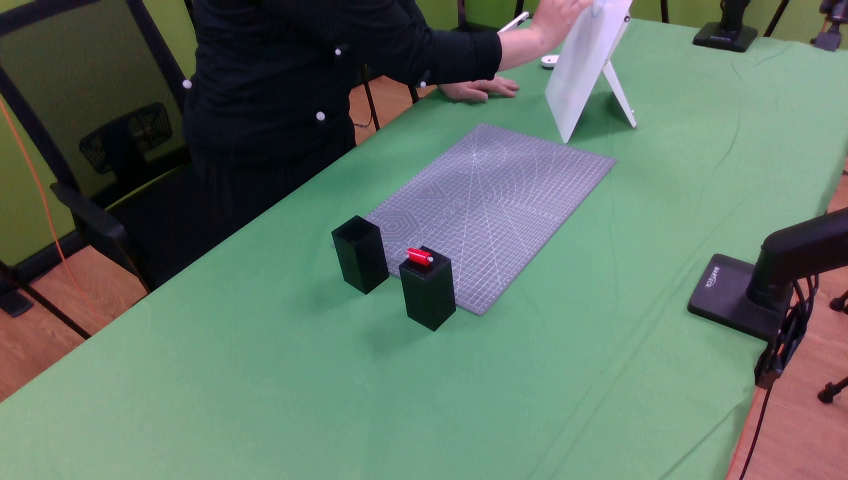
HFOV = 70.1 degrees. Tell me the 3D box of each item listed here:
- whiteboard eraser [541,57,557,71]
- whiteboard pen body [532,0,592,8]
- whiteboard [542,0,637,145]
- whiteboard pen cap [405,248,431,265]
[{"bbox_3d":[0.324,-0.412,1.408,0.101,0.019,0.041,2,43,11],"label":"whiteboard eraser"},{"bbox_3d":[0.250,-0.441,1.113,0.141,0.017,0.016,0,37,-21],"label":"whiteboard pen body"},{"bbox_3d":[0.366,-0.351,1.160,0.144,0.305,0.216,10,39,-10],"label":"whiteboard"},{"bbox_3d":[-0.008,0.021,0.794,0.032,0.017,0.017,16,45,28],"label":"whiteboard pen cap"}]
